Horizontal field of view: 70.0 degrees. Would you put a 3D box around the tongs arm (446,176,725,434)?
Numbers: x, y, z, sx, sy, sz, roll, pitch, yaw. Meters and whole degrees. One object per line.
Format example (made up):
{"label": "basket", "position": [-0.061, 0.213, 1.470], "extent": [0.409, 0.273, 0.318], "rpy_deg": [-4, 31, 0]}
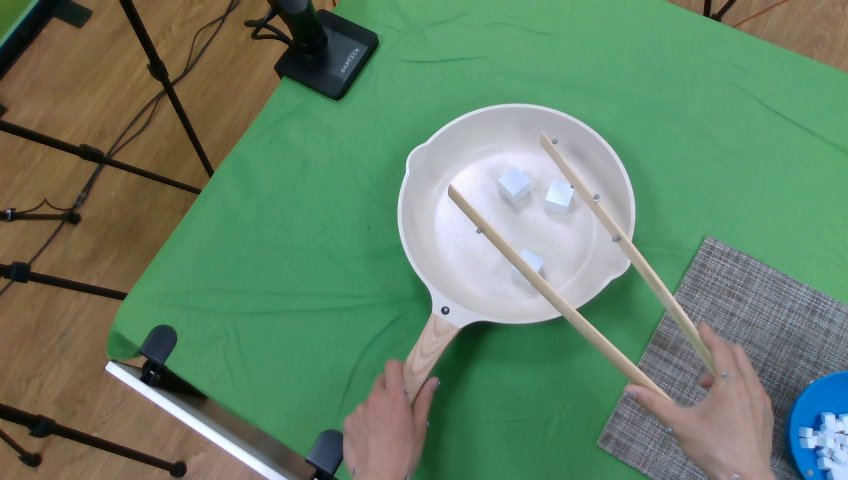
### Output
{"label": "tongs arm", "position": [0.149, 0.056, 0.643], "extent": [0.028, 0.028, 0.384], "rpy_deg": [-33, 63, -21]}

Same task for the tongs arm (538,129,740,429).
{"label": "tongs arm", "position": [0.212, 0.022, 0.660], "extent": [0.051, 0.027, 0.381], "rpy_deg": [-24, 62, -13]}

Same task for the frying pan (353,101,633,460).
{"label": "frying pan", "position": [0.056, 0.046, 0.740], "extent": [0.305, 0.103, 0.486], "rpy_deg": [29, 69, 15]}

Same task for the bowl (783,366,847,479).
{"label": "bowl", "position": [0.457, 0.215, 0.654], "extent": [0.151, 0.077, 0.150], "rpy_deg": [-2, 72, 5]}
